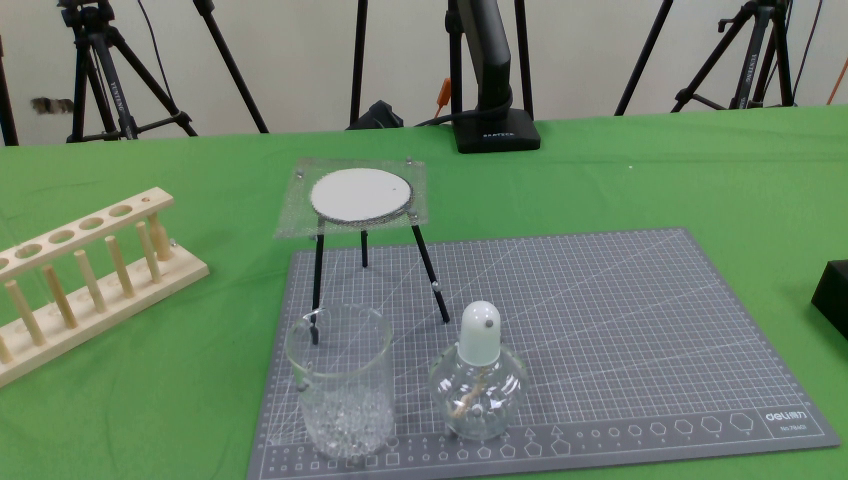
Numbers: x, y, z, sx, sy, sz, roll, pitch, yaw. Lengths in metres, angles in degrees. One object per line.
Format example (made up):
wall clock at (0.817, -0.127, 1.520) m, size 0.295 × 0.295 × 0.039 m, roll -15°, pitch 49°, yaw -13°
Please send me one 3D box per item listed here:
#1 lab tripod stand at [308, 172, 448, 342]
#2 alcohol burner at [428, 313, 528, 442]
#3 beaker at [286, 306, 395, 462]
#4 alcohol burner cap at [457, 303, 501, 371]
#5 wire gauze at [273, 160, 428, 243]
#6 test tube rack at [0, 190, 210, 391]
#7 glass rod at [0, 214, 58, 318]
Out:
lab tripod stand at (-0.048, 0.015, 0.559) m, size 0.148 × 0.132 × 0.147 m, roll 0°, pitch 34°, yaw 0°
alcohol burner at (0.041, 0.096, 0.457) m, size 0.078 × 0.120 × 0.077 m, roll 0°, pitch 37°, yaw 1°
beaker at (-0.060, 0.109, 0.455) m, size 0.083 × 0.101 × 0.074 m, roll 25°, pitch 43°, yaw 33°
alcohol burner cap at (0.041, 0.067, 0.436) m, size 0.034 × 0.048 × 0.033 m, roll 1°, pitch 37°, yaw 0°
wire gauze at (-0.058, -0.038, 0.518) m, size 0.121 × 0.011 × 0.124 m, roll -1°, pitch 36°, yaw -1°
test tube rack at (-0.336, 0.046, 0.573) m, size 0.066 × 0.086 × 0.242 m, roll 26°, pitch 44°, yaw 34°
glass rod at (-0.372, -0.008, 0.537) m, size 0.008 × 0.201 × 0.008 m, roll -6°, pitch 33°, yaw 4°
